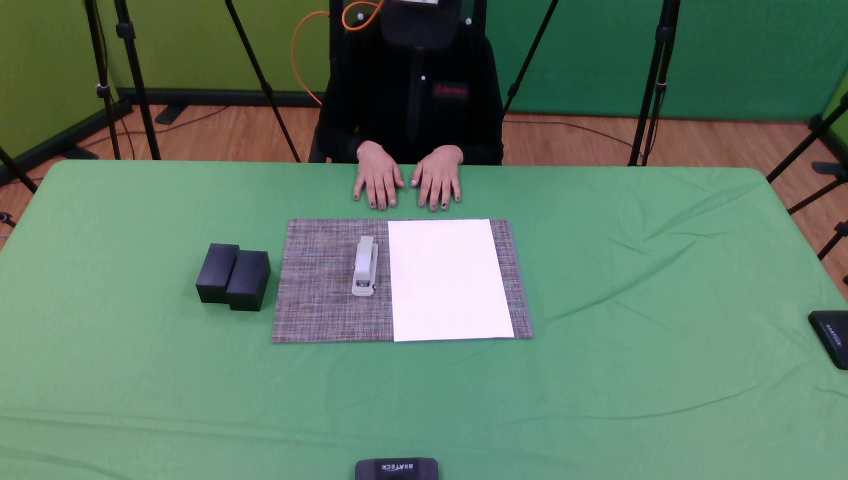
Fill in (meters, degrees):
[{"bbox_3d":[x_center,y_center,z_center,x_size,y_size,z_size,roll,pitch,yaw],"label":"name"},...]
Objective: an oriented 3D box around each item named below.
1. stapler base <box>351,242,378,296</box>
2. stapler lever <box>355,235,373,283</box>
[{"bbox_3d":[-0.112,0.047,1.139,0.041,0.024,0.130,5,45,-4],"label":"stapler base"},{"bbox_3d":[-0.110,0.029,1.122,0.027,0.040,0.117,5,46,-3],"label":"stapler lever"}]
